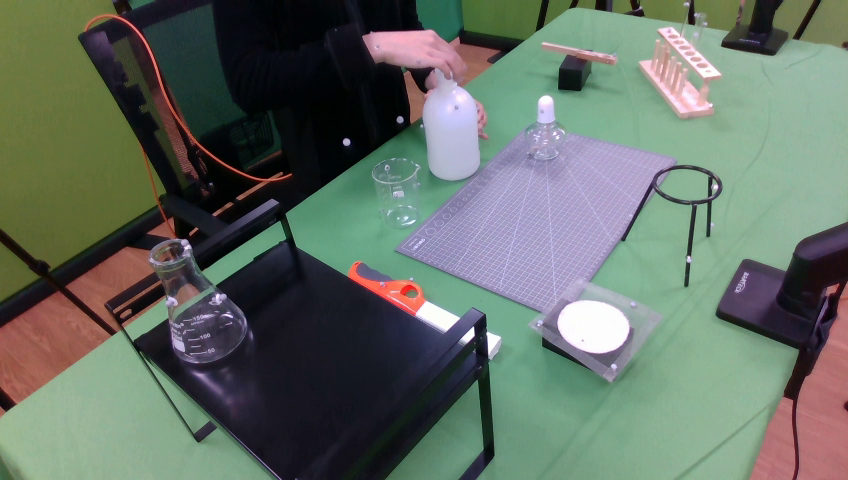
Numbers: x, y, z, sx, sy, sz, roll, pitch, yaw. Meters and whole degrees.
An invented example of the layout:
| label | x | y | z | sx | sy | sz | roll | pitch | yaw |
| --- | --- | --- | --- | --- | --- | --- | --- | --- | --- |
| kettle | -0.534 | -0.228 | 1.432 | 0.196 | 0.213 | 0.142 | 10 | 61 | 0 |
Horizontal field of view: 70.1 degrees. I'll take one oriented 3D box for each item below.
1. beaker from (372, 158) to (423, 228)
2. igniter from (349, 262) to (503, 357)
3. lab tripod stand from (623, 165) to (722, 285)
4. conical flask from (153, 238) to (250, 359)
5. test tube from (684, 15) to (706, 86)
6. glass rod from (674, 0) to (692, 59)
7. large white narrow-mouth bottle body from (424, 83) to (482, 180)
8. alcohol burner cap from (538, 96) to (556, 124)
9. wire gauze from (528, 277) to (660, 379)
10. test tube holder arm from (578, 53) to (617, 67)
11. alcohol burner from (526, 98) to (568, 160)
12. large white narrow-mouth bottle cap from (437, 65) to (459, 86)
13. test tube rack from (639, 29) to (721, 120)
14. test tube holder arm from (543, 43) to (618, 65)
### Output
| label | x | y | z | sx | sy | sz | roll | pitch | yaw |
| --- | --- | --- | --- | --- | --- | --- | --- | --- | --- |
| beaker | -0.039 | -0.078 | 1.022 | 0.084 | 0.101 | 0.073 | -17 | 41 | -11 |
| igniter | -0.008 | 0.093 | 0.870 | 0.274 | 0.025 | 0.057 | 24 | 60 | 33 |
| lab tripod stand | 0.365 | -0.030 | 0.874 | 0.148 | 0.132 | 0.147 | -6 | 41 | 6 |
| conical flask | -0.225 | 0.055 | 0.597 | 0.075 | 0.122 | 0.075 | -5 | 41 | 4 |
| test tube | 0.541 | -0.378 | 1.215 | 0.017 | 0.151 | 0.017 | -2 | 44 | 3 |
| glass rod | 0.536 | -0.436 | 1.257 | 0.008 | 0.200 | 0.008 | 0 | 39 | 1 |
| large white narrow-mouth bottle body | 0.051 | -0.212 | 1.091 | 0.102 | 0.195 | 0.101 | -4 | 41 | 4 |
| alcohol burner cap | 0.222 | -0.237 | 1.095 | 0.034 | 0.048 | 0.033 | -7 | 34 | 5 |
| wire gauze | 0.213 | 0.103 | 0.763 | 0.124 | 0.011 | 0.122 | 30 | 52 | 35 |
| test tube holder arm | 0.376 | -0.393 | 1.314 | 0.087 | 0.015 | 0.010 | 26 | 51 | 32 |
| alcohol burner | 0.228 | -0.210 | 1.118 | 0.078 | 0.119 | 0.077 | -5 | 43 | 5 |
| large white narrow-mouth bottle cap | 0.042 | -0.280 | 1.029 | 0.038 | 0.024 | 0.037 | -4 | 41 | 4 |
| test tube rack | 0.527 | -0.351 | 1.262 | 0.067 | 0.085 | 0.241 | -8 | 40 | 1 |
| test tube holder arm | 0.344 | -0.413 | 1.340 | 0.177 | 0.015 | 0.013 | 25 | 51 | 31 |
